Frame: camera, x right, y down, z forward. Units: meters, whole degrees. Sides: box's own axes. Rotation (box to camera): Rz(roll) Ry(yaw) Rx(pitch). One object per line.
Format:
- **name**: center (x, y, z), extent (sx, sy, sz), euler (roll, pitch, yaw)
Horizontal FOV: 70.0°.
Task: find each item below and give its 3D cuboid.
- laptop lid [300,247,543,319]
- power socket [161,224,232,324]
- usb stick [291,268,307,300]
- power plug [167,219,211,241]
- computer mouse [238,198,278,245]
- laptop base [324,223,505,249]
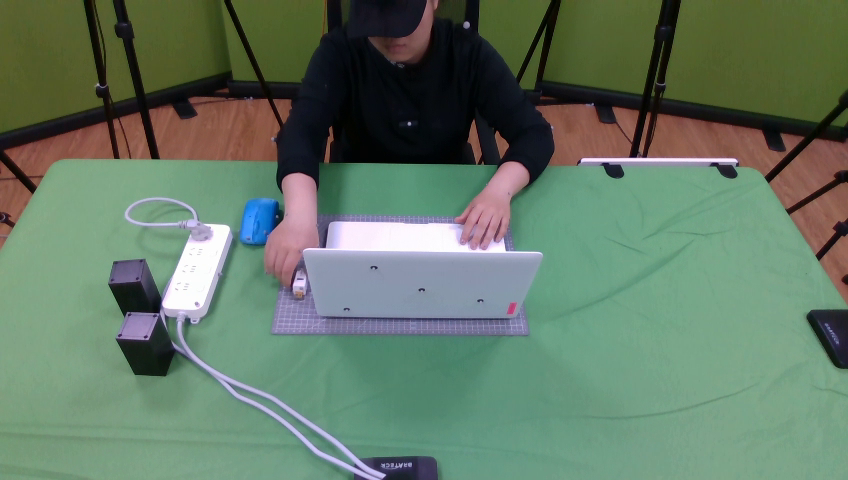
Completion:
- **laptop lid**: center (-0.006, 0.075, 0.963), extent (0.357, 0.242, 0.013), euler (2, 58, -4)
- **power socket**: center (-0.411, 0.052, 1.107), extent (0.072, 0.033, 0.225), euler (4, 45, -1)
- **usb stick**: center (-0.225, 0.081, 1.095), extent (0.021, 0.027, 0.059), euler (3, 51, 4)
- **power plug**: center (-0.439, -0.017, 1.143), extent (0.072, 0.053, 0.035), euler (10, 42, 5)
- **computer mouse**: center (-0.328, -0.040, 1.200), extent (0.063, 0.041, 0.116), euler (3, 49, -4)
- **laptop base**: center (-0.015, 0.054, 1.145), extent (0.354, 0.023, 0.234), euler (1, 42, -3)
